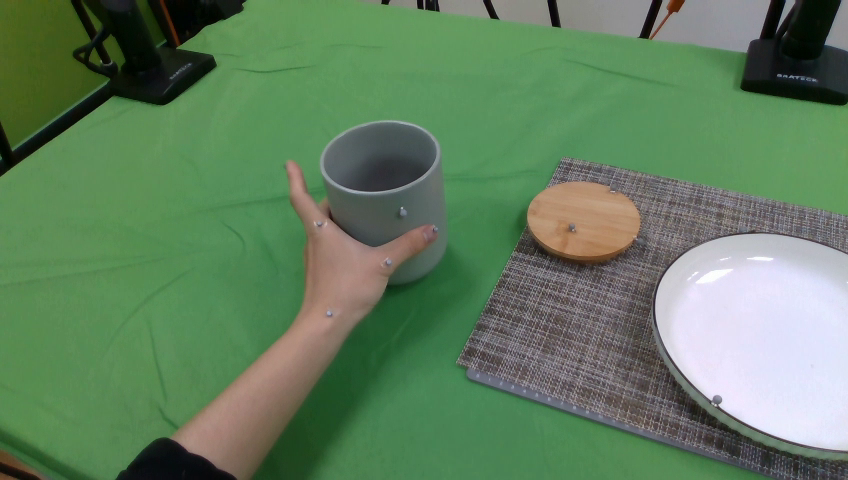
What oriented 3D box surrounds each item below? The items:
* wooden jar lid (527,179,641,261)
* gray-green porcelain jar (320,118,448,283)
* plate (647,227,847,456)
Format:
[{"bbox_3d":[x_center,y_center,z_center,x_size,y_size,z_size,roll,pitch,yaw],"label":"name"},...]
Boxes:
[{"bbox_3d":[0.156,-0.019,0.598,0.108,0.021,0.107,-2,45,3],"label":"wooden jar lid"},{"bbox_3d":[-0.032,-0.031,0.562,0.106,0.128,0.105,-3,46,3],"label":"gray-green porcelain jar"},{"bbox_3d":[0.283,0.075,0.478,0.207,0.039,0.205,-3,46,4],"label":"plate"}]
